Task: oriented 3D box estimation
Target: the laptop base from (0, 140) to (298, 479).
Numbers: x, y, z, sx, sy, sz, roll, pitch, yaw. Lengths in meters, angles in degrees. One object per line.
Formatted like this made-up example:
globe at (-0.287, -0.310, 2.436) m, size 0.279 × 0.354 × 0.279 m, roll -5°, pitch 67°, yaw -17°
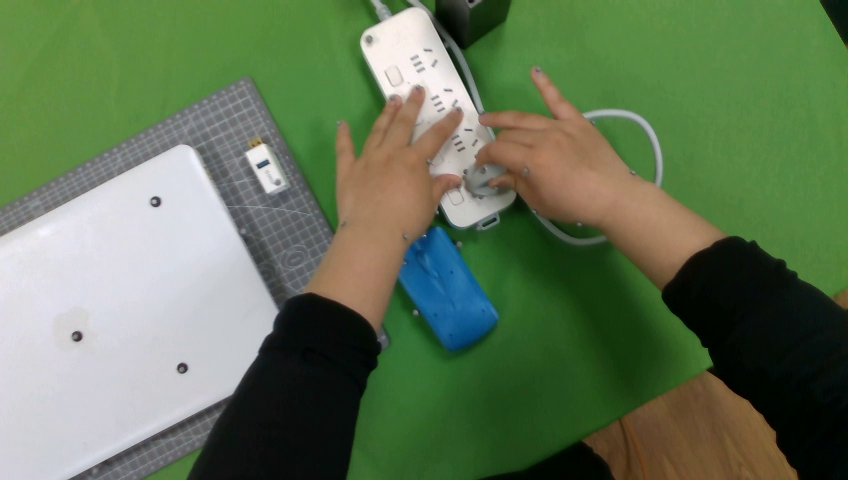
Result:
laptop base at (-0.326, 0.084, 0.587) m, size 0.354 × 0.023 × 0.235 m, roll -28°, pitch 93°, yaw 0°

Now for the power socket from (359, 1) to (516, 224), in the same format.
power socket at (0.013, -0.119, 0.576) m, size 0.072 × 0.032 × 0.226 m, roll -27°, pitch 90°, yaw 2°

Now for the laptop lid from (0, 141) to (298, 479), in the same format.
laptop lid at (-0.325, 0.086, 0.575) m, size 0.357 × 0.013 × 0.241 m, roll -26°, pitch 92°, yaw 1°

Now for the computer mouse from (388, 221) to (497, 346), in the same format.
computer mouse at (0.016, 0.041, 0.574) m, size 0.063 × 0.041 × 0.117 m, roll -32°, pitch 84°, yaw 3°

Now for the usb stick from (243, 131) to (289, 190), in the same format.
usb stick at (-0.154, -0.078, 0.578) m, size 0.021 × 0.027 × 0.059 m, roll -28°, pitch 87°, yaw 3°

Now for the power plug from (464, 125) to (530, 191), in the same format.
power plug at (0.070, -0.071, 0.545) m, size 0.072 × 0.053 × 0.035 m, roll -23°, pitch 89°, yaw 17°
